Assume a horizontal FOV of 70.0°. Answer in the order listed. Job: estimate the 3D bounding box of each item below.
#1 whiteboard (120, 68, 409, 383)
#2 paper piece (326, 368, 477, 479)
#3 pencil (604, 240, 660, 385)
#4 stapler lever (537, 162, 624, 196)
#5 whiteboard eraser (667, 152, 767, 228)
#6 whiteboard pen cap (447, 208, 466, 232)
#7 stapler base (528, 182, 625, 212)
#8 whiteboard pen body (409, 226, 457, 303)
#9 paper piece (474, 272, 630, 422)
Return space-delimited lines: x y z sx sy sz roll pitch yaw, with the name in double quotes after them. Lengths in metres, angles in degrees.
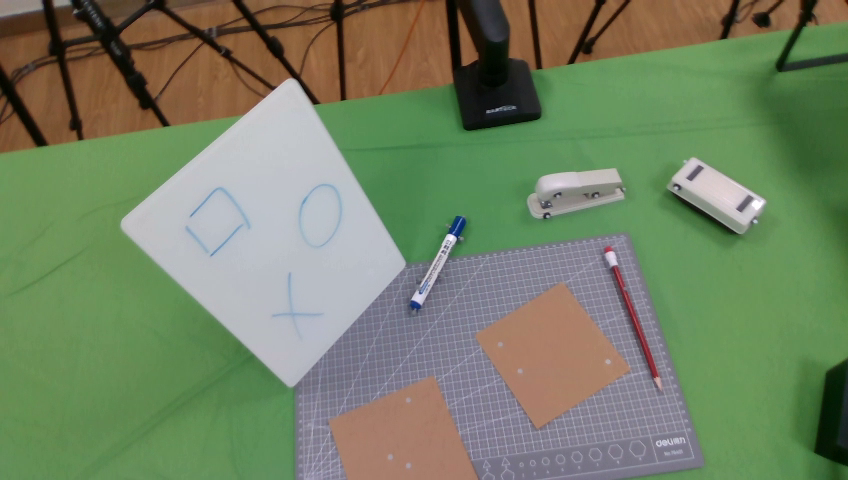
-0.187 -0.021 0.707 0.142 0.309 0.217 28 66 41 "whiteboard"
-0.028 0.230 0.689 0.135 0.004 0.134 -21 62 -7 "paper piece"
0.255 0.085 0.743 0.012 0.012 0.192 -12 63 -1 "pencil"
0.209 -0.084 0.808 0.118 0.040 0.026 -13 63 -3 "stapler lever"
0.384 -0.064 0.798 0.112 0.042 0.055 40 73 22 "whiteboard eraser"
0.044 -0.025 0.817 0.018 0.018 0.033 20 65 15 "whiteboard pen cap"
0.209 -0.072 0.829 0.131 0.024 0.041 -12 64 -4 "stapler base"
0.018 0.021 0.795 0.017 0.017 0.140 22 65 16 "whiteboard pen body"
0.152 0.126 0.732 0.136 0.009 0.137 -30 65 -6 "paper piece"
